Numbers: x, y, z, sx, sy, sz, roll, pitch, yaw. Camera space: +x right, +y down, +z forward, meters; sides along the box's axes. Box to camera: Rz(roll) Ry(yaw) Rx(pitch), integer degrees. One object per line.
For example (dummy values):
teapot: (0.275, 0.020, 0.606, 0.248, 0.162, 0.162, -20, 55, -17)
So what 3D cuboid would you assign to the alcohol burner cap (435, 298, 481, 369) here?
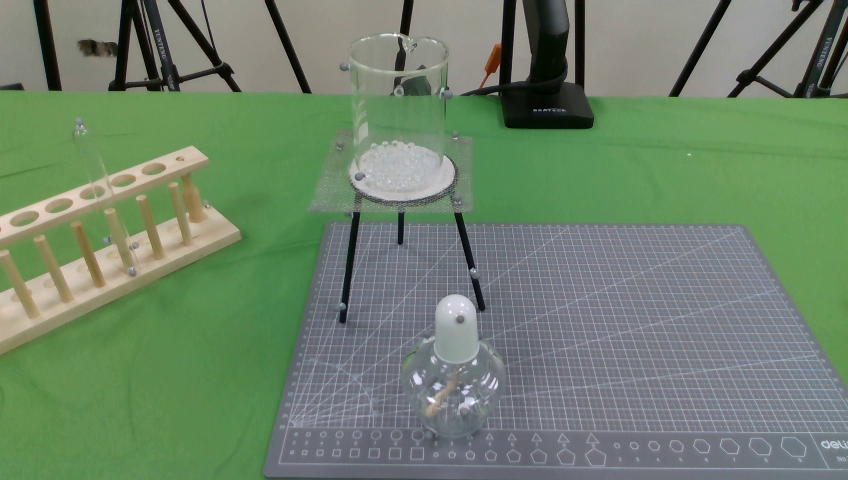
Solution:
alcohol burner cap: (0.023, 0.060, 0.409, 0.034, 0.048, 0.033, -2, 38, 2)

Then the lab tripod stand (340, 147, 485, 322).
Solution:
lab tripod stand: (-0.012, -0.003, 0.530, 0.148, 0.132, 0.147, 1, 38, -1)

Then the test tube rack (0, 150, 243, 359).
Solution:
test tube rack: (-0.300, 0.007, 0.561, 0.242, 0.086, 0.066, -30, 47, -32)

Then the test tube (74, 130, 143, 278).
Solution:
test tube: (-0.275, -0.027, 0.532, 0.017, 0.151, 0.017, 1, 37, 0)

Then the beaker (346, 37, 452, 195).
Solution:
beaker: (-0.018, -0.093, 0.459, 0.074, 0.101, 0.083, 8, 39, 7)

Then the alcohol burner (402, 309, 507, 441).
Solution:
alcohol burner: (0.022, 0.088, 0.432, 0.078, 0.120, 0.077, 1, 40, 0)

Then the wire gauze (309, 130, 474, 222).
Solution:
wire gauze: (-0.021, -0.054, 0.488, 0.121, 0.011, 0.124, 2, 41, 2)
